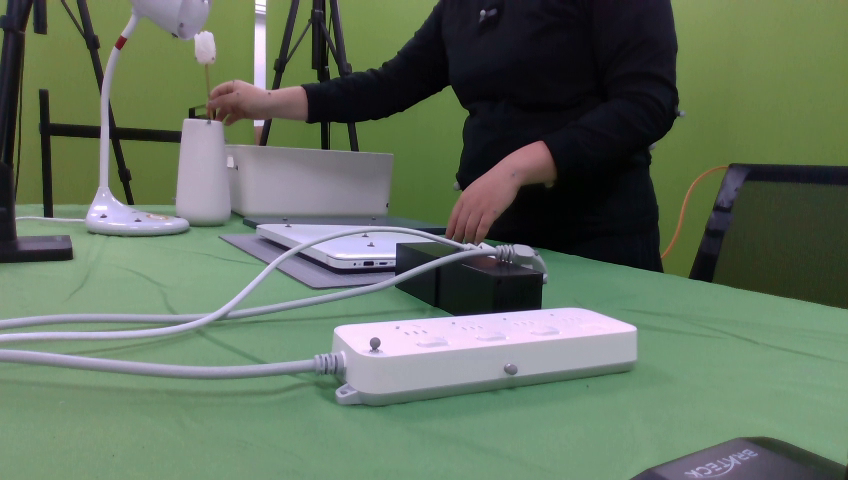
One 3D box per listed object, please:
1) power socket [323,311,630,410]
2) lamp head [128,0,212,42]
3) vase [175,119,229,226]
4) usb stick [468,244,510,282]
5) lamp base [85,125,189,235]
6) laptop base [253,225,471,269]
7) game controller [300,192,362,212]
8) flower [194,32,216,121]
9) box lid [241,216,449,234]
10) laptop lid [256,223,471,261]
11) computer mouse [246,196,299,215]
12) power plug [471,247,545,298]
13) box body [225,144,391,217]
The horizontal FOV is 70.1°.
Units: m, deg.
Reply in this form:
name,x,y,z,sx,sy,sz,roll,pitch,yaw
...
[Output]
name,x,y,z,sx,sy,sz,roll,pitch,yaw
power socket,0.041,0.075,0.410,0.228,0.032,0.072,-1,8,-26
lamp head,-0.424,-0.395,0.980,0.123,0.112,0.112,21,7,-3
vase,-0.425,-0.128,1.158,0.098,0.200,0.098,2,9,0
usb stick,0.079,0.028,0.673,0.059,0.021,0.027,27,28,-28
lamp base,-0.498,-0.105,1.026,0.179,0.180,0.160,1,7,3
laptop base,-0.096,0.010,0.911,0.237,0.023,0.352,3,6,-32
game controller,-0.241,-0.097,1.550,0.155,0.051,0.097,2,8,5
flower,-0.410,-0.216,1.168,0.038,0.361,0.044,-5,6,-26
box lid,-0.162,-0.030,1.233,0.373,0.015,0.262,-1,8,-32
laptop lid,-0.093,0.000,0.911,0.243,0.013,0.355,1,7,-30
computer mouse,-0.355,-0.082,1.417,0.117,0.041,0.063,1,9,7
power plug,0.081,0.030,0.584,0.072,0.052,0.035,11,28,9
box body,-0.290,-0.143,1.474,0.366,0.160,0.253,-1,9,-29
